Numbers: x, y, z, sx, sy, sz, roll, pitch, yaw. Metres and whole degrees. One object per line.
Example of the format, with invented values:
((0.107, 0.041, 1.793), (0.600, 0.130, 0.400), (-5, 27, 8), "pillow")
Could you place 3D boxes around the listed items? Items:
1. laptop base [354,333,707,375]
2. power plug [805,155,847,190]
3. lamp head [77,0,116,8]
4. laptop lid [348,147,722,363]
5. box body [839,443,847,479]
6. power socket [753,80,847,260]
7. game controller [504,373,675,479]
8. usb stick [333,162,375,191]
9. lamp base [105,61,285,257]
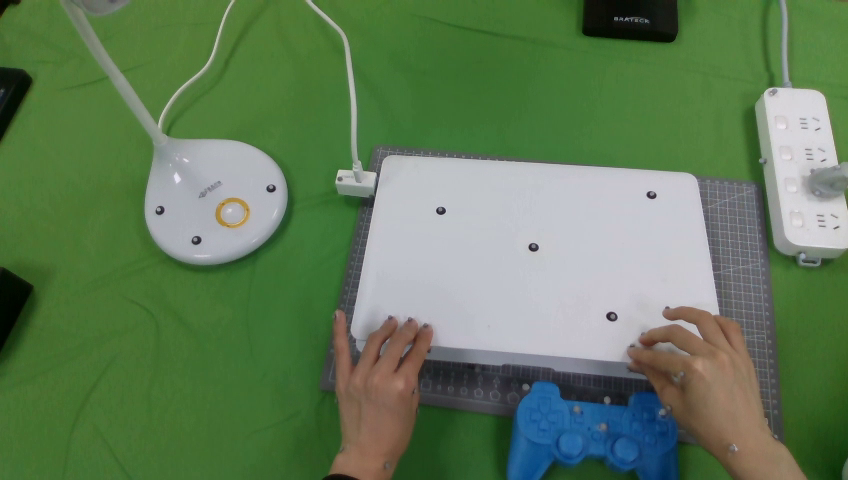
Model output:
((0.114, 0.016, 0.652), (0.354, 0.023, 0.234), (4, 69, 4), "laptop base")
((0.444, -0.065, 0.642), (0.072, 0.053, 0.035), (16, 66, 8), "power plug")
((-0.217, -0.215, 0.350), (0.123, 0.112, 0.112), (33, 69, -9), "lamp head")
((0.112, 0.003, 0.625), (0.356, 0.013, 0.239), (5, 59, 5), "laptop lid")
((0.564, 0.135, 0.498), (0.252, 0.161, 0.363), (38, 72, 18), "box body")
((0.419, -0.087, 0.678), (0.072, 0.033, 0.225), (6, 65, 4), "power socket")
((0.154, 0.176, 0.561), (0.155, 0.052, 0.096), (5, 64, 4), "game controller")
((-0.072, -0.072, 0.686), (0.059, 0.027, 0.021), (8, 61, 3), "usb stick")
((-0.254, -0.093, 0.630), (0.178, 0.182, 0.160), (32, 70, 19), "lamp base")
